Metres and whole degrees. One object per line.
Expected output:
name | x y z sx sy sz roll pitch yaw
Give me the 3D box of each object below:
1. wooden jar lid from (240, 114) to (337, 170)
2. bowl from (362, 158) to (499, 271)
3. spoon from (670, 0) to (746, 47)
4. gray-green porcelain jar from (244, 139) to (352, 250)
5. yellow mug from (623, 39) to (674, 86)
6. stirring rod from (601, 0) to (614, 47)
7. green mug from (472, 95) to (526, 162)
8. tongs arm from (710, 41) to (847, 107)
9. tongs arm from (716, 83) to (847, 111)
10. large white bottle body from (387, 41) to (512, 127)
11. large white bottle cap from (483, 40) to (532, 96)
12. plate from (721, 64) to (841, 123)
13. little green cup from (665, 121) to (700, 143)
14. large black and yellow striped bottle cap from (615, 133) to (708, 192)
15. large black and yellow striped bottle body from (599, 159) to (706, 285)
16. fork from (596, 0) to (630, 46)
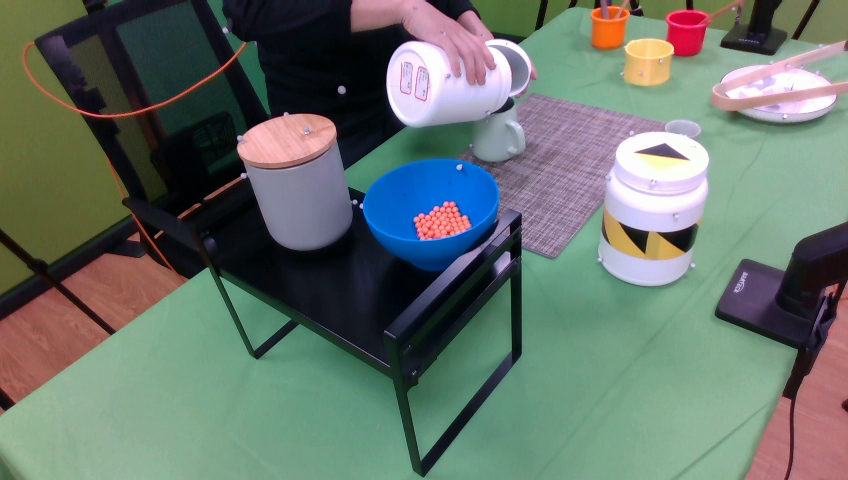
wooden jar lid | -0.149 -0.106 0.673 0.108 0.021 0.108 -6 38 5
bowl | 0.011 -0.019 0.679 0.151 0.077 0.150 -5 41 5
spoon | 0.629 -0.485 1.350 0.022 0.193 0.042 48 54 -7
gray-green porcelain jar | -0.144 -0.060 0.714 0.106 0.127 0.105 -4 41 4
yellow mug | 0.485 -0.398 1.334 0.100 0.064 0.130 -18 41 -10
stirring rod | 0.439 -0.552 1.463 0.014 0.006 0.175 -7 83 2
green mug | 0.144 -0.201 1.122 0.093 0.105 0.124 -29 45 -23
tongs arm | 0.712 -0.332 1.194 0.386 0.026 0.050 -18 45 -16
tongs arm | 0.738 -0.282 1.134 0.388 0.028 0.028 -9 47 -5
large white bottle body | 0.047 -0.261 1.004 0.186 0.131 0.129 -16 37 -39
large white bottle cap | 0.144 -0.319 1.128 0.114 0.115 0.018 9 53 19
plate | 0.695 -0.282 1.189 0.207 0.039 0.206 -4 40 4
little green cup | 0.472 -0.188 1.113 0.061 0.039 0.061 -5 40 4
large black and yellow striped bottle cap | 0.312 -0.105 0.798 0.115 0.019 0.114 -5 41 5
large black and yellow striped bottle body | 0.320 -0.042 0.854 0.131 0.185 0.130 -4 41 4
fork | 0.481 -0.556 1.453 0.028 0.019 0.207 40 103 38
